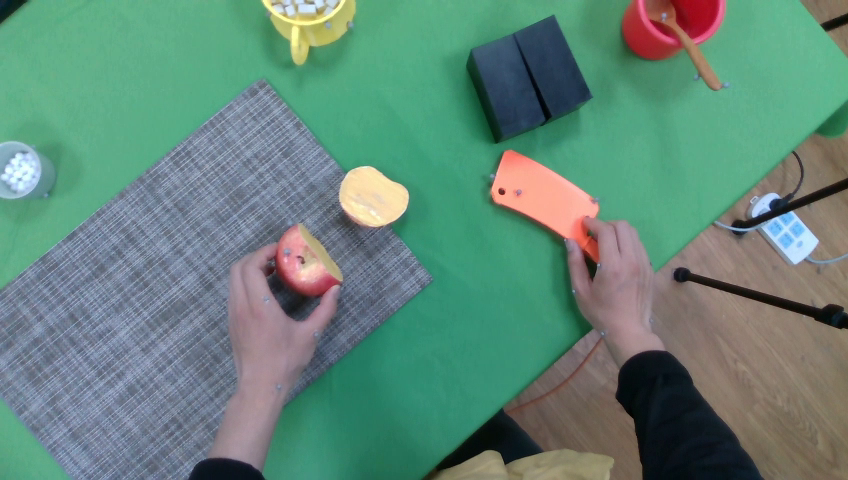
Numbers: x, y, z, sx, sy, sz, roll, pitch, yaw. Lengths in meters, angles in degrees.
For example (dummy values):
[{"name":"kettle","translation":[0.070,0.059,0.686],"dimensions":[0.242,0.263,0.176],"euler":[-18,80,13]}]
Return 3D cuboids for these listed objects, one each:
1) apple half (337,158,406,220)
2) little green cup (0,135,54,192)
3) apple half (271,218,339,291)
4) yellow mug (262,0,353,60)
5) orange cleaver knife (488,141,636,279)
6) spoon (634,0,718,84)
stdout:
[{"name":"apple half","translation":[-0.063,-0.049,0.676],"dimensions":[0.081,0.033,0.080],"euler":[9,58,-14]},{"name":"little green cup","translation":[-0.440,-0.080,0.660],"dimensions":[0.061,0.038,0.061],"euler":[0,89,-3]},{"name":"apple half","translation":[-0.134,0.022,0.655],"dimensions":[0.053,0.074,0.081],"euler":[-36,96,1]},{"name":"yellow mug","translation":[-0.132,-0.264,0.665],"dimensions":[0.100,0.064,0.130],"euler":[8,90,-3]},{"name":"orange cleaver knife","translation":[0.166,-0.035,0.700],"dimensions":[0.211,0.012,0.077],"euler":[35,77,-2]},{"name":"spoon","translation":[0.270,-0.223,0.648],"dimensions":[0.041,0.191,0.022],"euler":[-3,134,-4]}]
